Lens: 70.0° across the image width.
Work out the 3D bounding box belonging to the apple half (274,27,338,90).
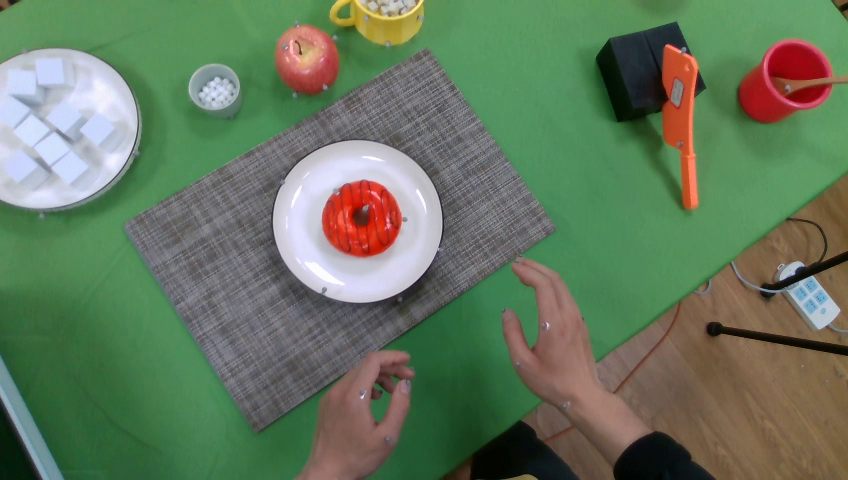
[{"bbox_3d":[-0.155,-0.219,0.762,0.081,0.074,0.053,30,82,-3],"label":"apple half"}]

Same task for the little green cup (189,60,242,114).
[{"bbox_3d":[-0.260,-0.190,0.763,0.061,0.039,0.061,1,79,-5],"label":"little green cup"}]

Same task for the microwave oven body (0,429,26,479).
[{"bbox_3d":[-0.546,0.282,0.534,0.326,0.260,0.440,-30,84,-10],"label":"microwave oven body"}]

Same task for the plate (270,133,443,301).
[{"bbox_3d":[-0.082,-0.027,0.747,0.209,0.038,0.208,1,80,-5],"label":"plate"}]

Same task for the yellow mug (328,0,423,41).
[{"bbox_3d":[-0.063,-0.316,0.791,0.131,0.064,0.099,-22,82,-8],"label":"yellow mug"}]

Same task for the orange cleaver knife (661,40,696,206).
[{"bbox_3d":[0.329,-0.150,0.787,0.012,0.076,0.213,-14,113,-6],"label":"orange cleaver knife"}]

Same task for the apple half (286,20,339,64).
[{"bbox_3d":[-0.136,-0.253,0.768,0.081,0.081,0.032,29,82,1],"label":"apple half"}]

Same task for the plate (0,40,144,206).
[{"bbox_3d":[-0.446,-0.140,0.737,0.208,0.039,0.206,1,80,-5],"label":"plate"}]

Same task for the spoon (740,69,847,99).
[{"bbox_3d":[0.518,-0.210,0.787,0.192,0.022,0.041,3,70,40],"label":"spoon"}]

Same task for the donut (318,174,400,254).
[{"bbox_3d":[-0.079,-0.031,0.737,0.099,0.048,0.098,1,82,-5],"label":"donut"}]

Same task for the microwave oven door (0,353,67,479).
[{"bbox_3d":[-0.399,0.245,0.549,0.039,0.244,0.355,-31,84,-10],"label":"microwave oven door"}]
